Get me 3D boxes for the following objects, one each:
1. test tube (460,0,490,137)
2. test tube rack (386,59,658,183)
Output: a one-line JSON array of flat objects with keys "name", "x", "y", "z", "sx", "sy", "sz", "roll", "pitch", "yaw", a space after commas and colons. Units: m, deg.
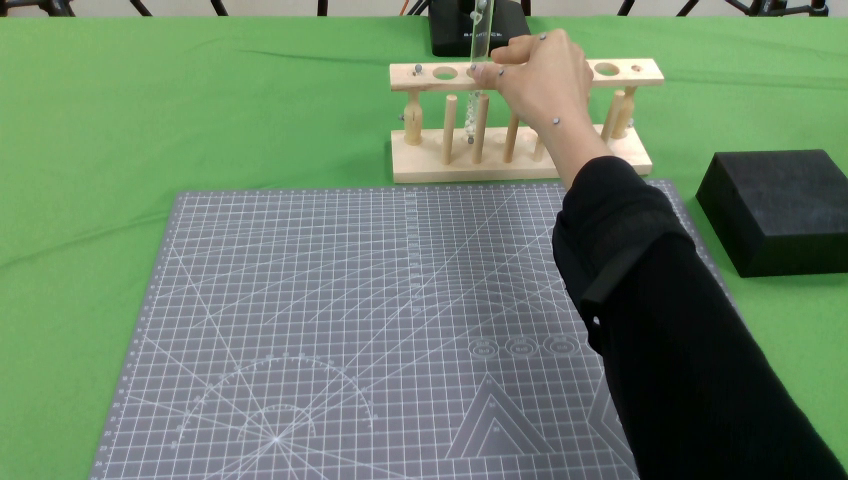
[{"name": "test tube", "x": 0.044, "y": -0.157, "z": 0.533, "sx": 0.017, "sy": 0.151, "sz": 0.017, "roll": 2, "pitch": 43, "yaw": -1}, {"name": "test tube rack", "x": 0.088, "y": -0.110, "z": 0.559, "sx": 0.243, "sy": 0.086, "sz": 0.066, "roll": -2, "pitch": 47, "yaw": -4}]
